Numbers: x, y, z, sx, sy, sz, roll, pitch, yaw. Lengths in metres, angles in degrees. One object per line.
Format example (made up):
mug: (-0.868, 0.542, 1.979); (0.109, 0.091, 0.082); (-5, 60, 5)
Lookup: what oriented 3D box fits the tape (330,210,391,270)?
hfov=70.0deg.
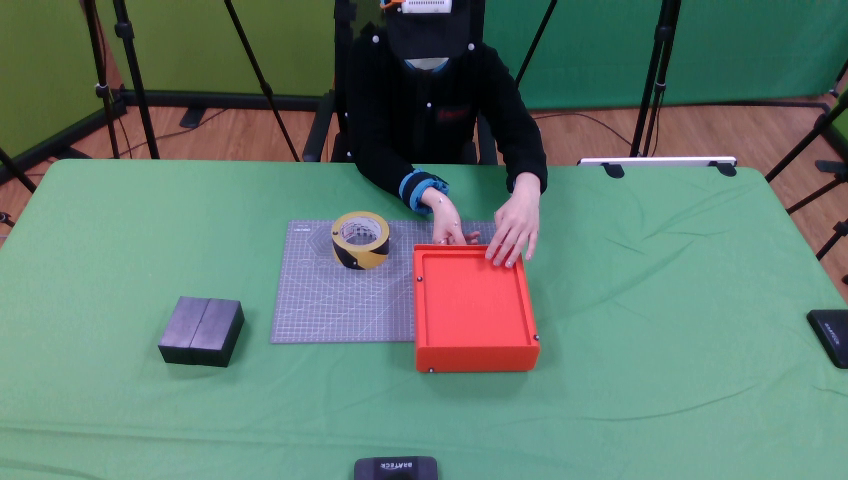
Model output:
tape: (-0.123, -0.002, 1.164); (0.117, 0.053, 0.116); (3, 46, -3)

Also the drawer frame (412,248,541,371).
drawer frame: (0.082, 0.116, 1.046); (0.202, 0.083, 0.212); (0, 47, -4)

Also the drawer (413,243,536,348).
drawer: (0.080, 0.102, 1.059); (0.195, 0.073, 0.210); (1, 46, -5)
